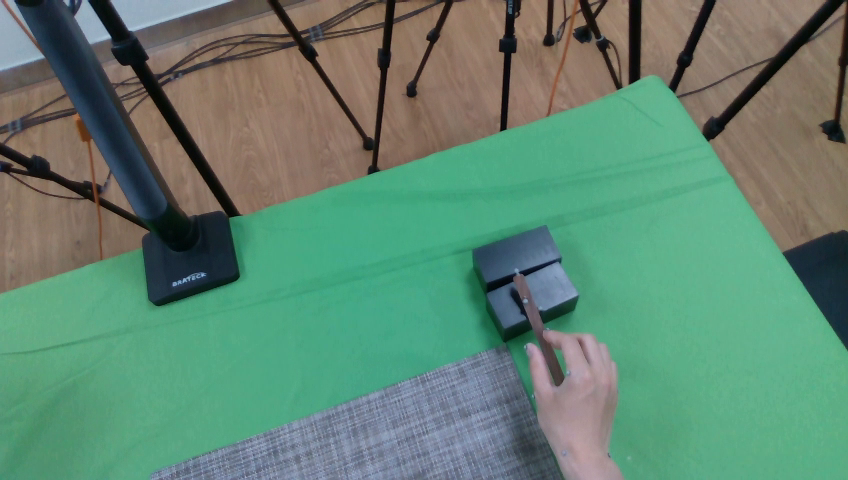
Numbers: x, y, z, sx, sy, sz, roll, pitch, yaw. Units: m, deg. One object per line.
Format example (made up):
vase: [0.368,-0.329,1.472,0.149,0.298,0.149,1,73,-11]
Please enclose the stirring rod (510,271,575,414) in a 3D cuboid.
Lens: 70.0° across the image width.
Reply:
stirring rod: [0.138,0.119,0.706,0.014,0.006,0.176,-22,87,6]
